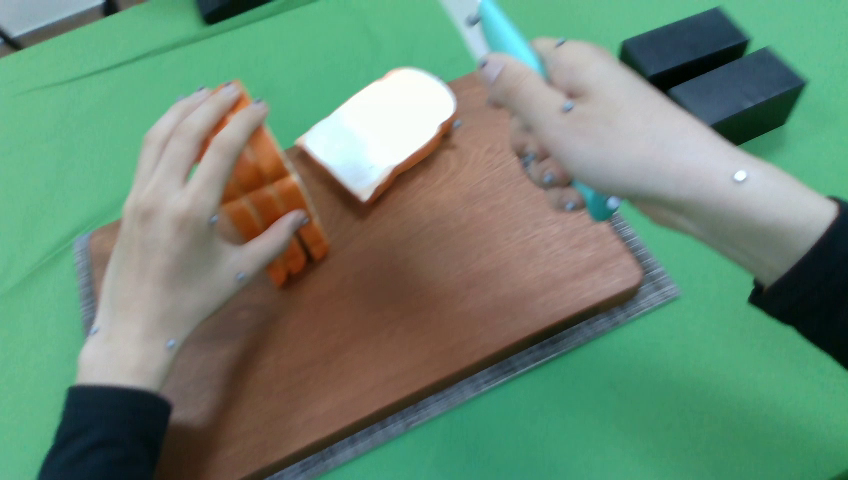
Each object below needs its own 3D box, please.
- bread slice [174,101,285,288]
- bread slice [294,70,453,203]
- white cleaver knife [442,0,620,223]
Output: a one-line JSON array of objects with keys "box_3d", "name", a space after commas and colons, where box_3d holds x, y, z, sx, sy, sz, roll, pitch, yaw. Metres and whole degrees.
[{"box_3d": [-0.147, -0.040, 0.459, 0.018, 0.135, 0.106, -27, 52, -9], "name": "bread slice"}, {"box_3d": [-0.037, -0.099, 0.543, 0.131, 0.019, 0.104, -41, 58, -13], "name": "bread slice"}, {"box_3d": [0.029, -0.134, 0.351, 0.021, 0.066, 0.285, -29, 82, -2], "name": "white cleaver knife"}]
